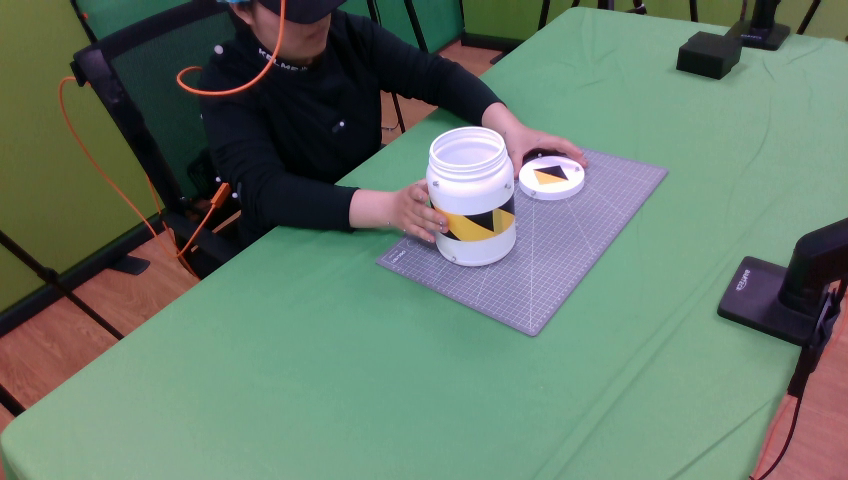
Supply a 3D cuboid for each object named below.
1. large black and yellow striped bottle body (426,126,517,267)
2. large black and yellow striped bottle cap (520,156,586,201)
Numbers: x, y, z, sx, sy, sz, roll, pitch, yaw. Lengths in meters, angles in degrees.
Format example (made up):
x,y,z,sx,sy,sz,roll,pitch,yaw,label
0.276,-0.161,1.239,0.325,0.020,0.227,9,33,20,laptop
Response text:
x,y,z,sx,sy,sz,roll,pitch,yaw,label
0.073,-0.066,0.917,0.131,0.185,0.130,-5,40,5,large black and yellow striped bottle body
0.228,-0.111,1.072,0.115,0.019,0.114,-6,41,6,large black and yellow striped bottle cap
